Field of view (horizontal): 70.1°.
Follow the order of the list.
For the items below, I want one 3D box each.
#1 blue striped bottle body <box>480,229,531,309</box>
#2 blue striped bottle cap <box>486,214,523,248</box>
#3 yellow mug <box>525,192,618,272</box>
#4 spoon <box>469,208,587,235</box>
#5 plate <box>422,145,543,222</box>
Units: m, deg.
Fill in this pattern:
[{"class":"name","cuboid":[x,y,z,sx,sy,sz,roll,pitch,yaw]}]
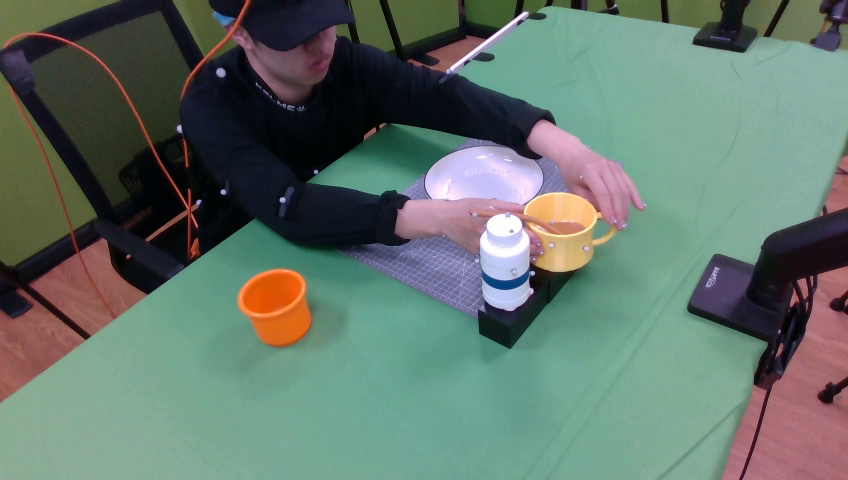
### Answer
[{"class":"blue striped bottle body","cuboid":[0.104,0.026,0.769,0.063,0.121,0.063,-4,41,4]},{"class":"blue striped bottle cap","cuboid":[0.098,-0.011,0.735,0.044,0.021,0.044,-3,38,3]},{"class":"yellow mug","cuboid":[0.205,-0.014,0.845,0.131,0.064,0.099,-4,42,1]},{"class":"spoon","cuboid":[0.143,-0.026,0.817,0.195,0.021,0.041,12,35,-29]},{"class":"plate","cuboid":[0.101,-0.094,1.048,0.207,0.039,0.206,-4,41,4]}]
